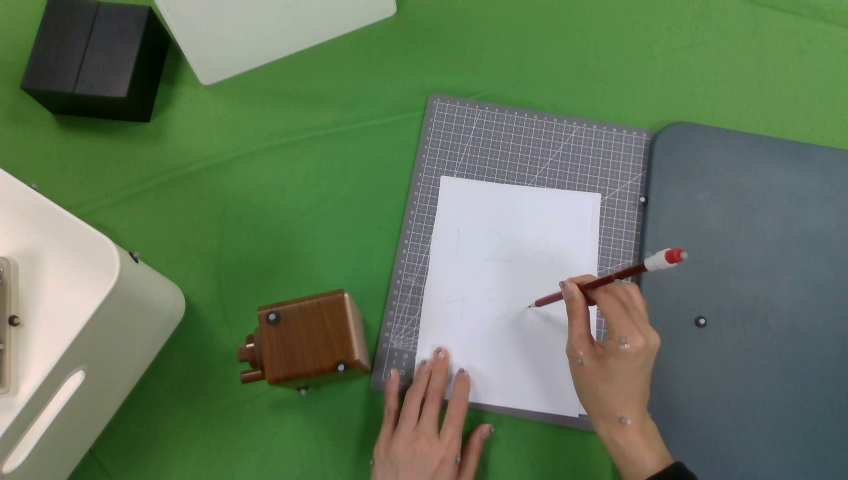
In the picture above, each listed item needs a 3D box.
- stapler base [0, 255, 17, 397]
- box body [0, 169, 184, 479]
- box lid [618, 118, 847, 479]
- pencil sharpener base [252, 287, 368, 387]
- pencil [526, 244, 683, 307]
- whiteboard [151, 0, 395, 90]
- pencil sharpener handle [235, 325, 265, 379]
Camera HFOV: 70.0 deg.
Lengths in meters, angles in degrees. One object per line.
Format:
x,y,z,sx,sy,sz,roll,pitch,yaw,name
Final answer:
-0.388,0.075,0.535,0.041,0.024,0.130,-10,77,-2,stapler base
-0.415,0.044,0.477,0.363,0.161,0.253,30,77,7,box body
0.324,0.068,0.562,0.263,0.015,0.369,10,75,1,box lid
-0.092,0.084,0.501,0.077,0.107,0.061,-12,75,-3,pencil sharpener base
0.129,0.033,0.474,0.012,0.194,0.012,6,71,-20,pencil
-0.174,-0.330,0.540,0.217,0.308,0.142,-23,57,-6,whiteboard
-0.141,0.095,0.484,0.031,0.068,0.035,-12,59,-3,pencil sharpener handle
